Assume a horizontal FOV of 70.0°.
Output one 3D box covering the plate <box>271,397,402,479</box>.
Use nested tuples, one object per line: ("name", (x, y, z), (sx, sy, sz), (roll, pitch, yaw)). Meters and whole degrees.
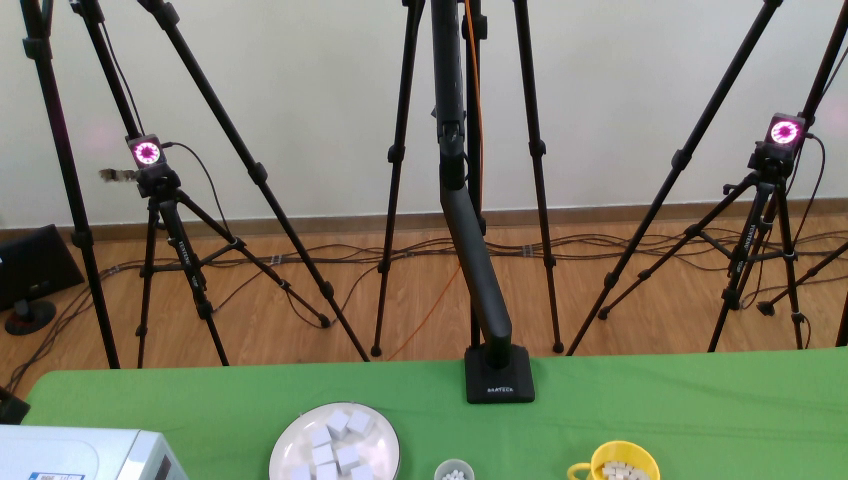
("plate", (-0.137, 0.348, 0.973), (0.207, 0.039, 0.205), (-2, 40, 2))

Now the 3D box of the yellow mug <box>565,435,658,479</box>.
("yellow mug", (0.281, 0.353, 0.917), (0.130, 0.064, 0.099), (5, 41, 11))

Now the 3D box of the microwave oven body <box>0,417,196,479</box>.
("microwave oven body", (-0.495, 0.459, 0.689), (0.326, 0.262, 0.437), (1, 42, 4))

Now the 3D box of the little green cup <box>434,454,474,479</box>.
("little green cup", (0.047, 0.368, 0.937), (0.061, 0.039, 0.061), (-2, 40, 2))
